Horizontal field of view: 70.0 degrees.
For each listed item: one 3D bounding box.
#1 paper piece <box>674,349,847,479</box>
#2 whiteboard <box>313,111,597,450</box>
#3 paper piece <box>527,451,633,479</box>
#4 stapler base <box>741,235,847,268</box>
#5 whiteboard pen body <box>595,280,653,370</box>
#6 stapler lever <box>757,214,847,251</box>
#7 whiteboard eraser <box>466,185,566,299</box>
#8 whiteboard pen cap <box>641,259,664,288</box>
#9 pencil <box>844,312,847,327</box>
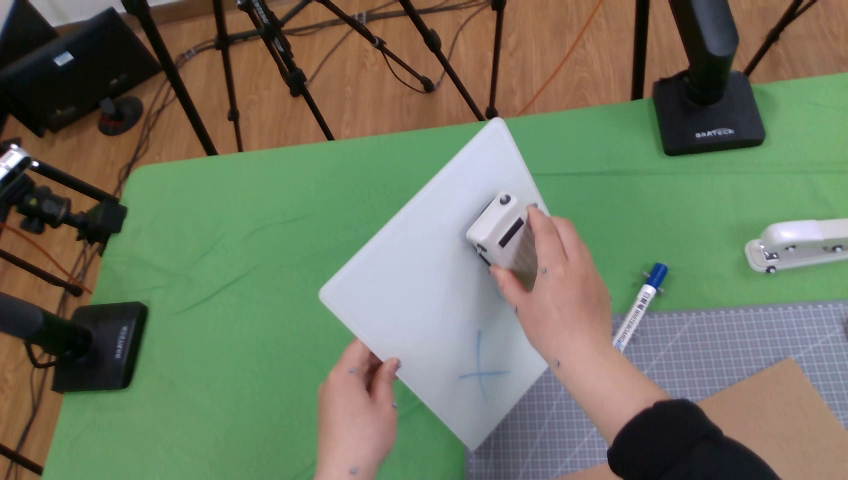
[{"bbox_3d":[0.347,0.198,0.604,0.136,0.009,0.137,-27,62,4],"label":"paper piece"},{"bbox_3d":[0.020,0.036,0.635,0.217,0.309,0.142,-45,41,-10],"label":"whiteboard"},{"bbox_3d":[0.159,0.295,0.599,0.135,0.004,0.134,-18,60,3],"label":"paper piece"},{"bbox_3d":[0.430,0.001,0.681,0.130,0.024,0.041,-10,64,7],"label":"stapler base"},{"bbox_3d":[0.232,0.085,0.686,0.017,0.017,0.140,27,72,25],"label":"whiteboard pen body"},{"bbox_3d":[0.427,-0.011,0.660,0.118,0.040,0.026,-11,63,8],"label":"stapler lever"},{"bbox_3d":[0.084,0.003,0.557,0.055,0.114,0.041,-48,40,-5],"label":"whiteboard eraser"},{"bbox_3d":[0.265,0.039,0.701,0.018,0.018,0.033,25,70,24],"label":"whiteboard pen cap"},{"bbox_3d":[0.452,0.162,0.595,0.012,0.012,0.192,-8,64,10],"label":"pencil"}]
